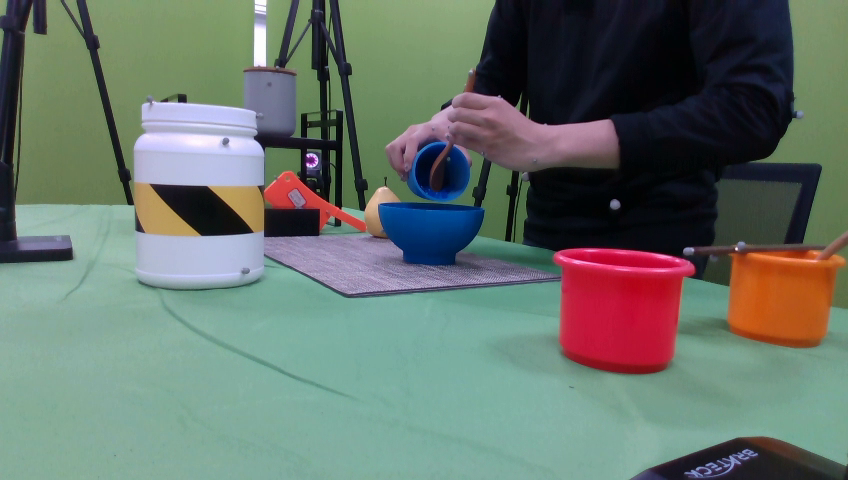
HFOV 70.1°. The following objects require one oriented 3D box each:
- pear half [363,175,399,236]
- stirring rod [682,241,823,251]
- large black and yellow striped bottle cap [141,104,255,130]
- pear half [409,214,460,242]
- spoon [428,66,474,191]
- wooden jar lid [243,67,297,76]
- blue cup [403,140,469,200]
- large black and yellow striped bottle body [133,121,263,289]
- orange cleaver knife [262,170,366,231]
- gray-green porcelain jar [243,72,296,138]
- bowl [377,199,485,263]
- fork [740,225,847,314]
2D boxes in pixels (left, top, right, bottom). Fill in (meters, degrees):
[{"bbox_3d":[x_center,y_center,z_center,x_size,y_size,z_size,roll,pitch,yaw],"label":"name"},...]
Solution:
[{"bbox_3d":[-0.064,-0.061,1.077,0.055,0.110,0.077,9,14,39],"label":"pear half"},{"bbox_3d":[0.289,0.005,0.525,0.177,0.006,0.014,-1,5,-26],"label":"stirring rod"},{"bbox_3d":[-0.241,-0.131,0.650,0.115,0.019,0.115,3,8,0],"label":"large black and yellow striped bottle cap"},{"bbox_3d":[0.012,-0.020,0.848,0.070,0.031,0.088,2,11,33],"label":"pear half"},{"bbox_3d":[0.039,-0.149,0.834,0.021,0.193,0.042,34,39,14],"label":"spoon"},{"bbox_3d":[-0.319,-0.342,1.254,0.108,0.020,0.108,3,8,0],"label":"wooden jar lid"},{"bbox_3d":[0.010,-0.101,0.899,0.093,0.092,0.100,0,3,-16],"label":"blue cup"},{"bbox_3d":[-0.243,-0.048,0.659,0.131,0.184,0.130,2,7,0],"label":"large black and yellow striped bottle body"},{"bbox_3d":[-0.201,-0.057,1.136,0.212,0.077,0.012,31,-3,-31],"label":"orange cleaver knife"},{"bbox_3d":[-0.322,-0.279,1.263,0.106,0.126,0.106,3,8,0],"label":"gray-green porcelain jar"},{"bbox_3d":[0.008,-0.012,0.841,0.151,0.077,0.151,2,8,0],"label":"bowl"},{"bbox_3d":[0.323,0.013,0.485,0.028,0.018,0.207,8,-38,-5],"label":"fork"}]
